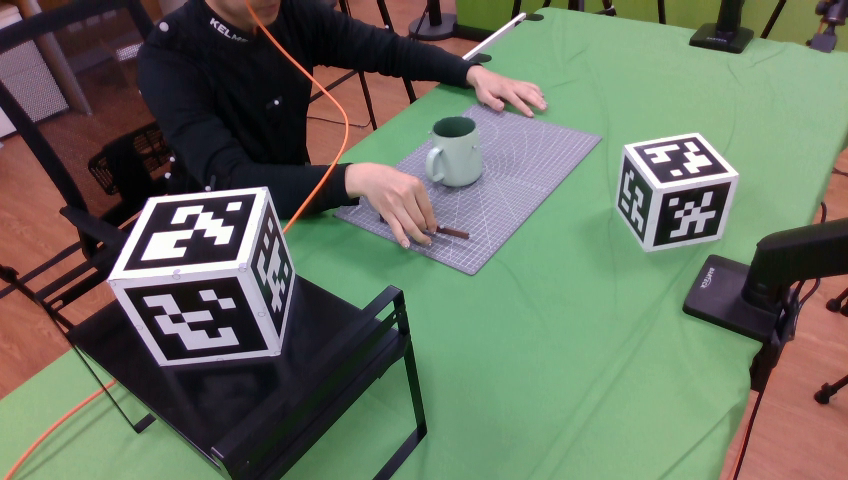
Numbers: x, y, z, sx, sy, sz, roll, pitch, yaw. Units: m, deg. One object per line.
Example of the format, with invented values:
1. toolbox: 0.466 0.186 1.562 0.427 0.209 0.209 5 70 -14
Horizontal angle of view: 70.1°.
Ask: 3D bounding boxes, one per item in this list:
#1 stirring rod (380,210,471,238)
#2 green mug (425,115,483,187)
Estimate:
1. stirring rod: -0.001 -0.027 0.993 0.175 0.014 0.006 15 52 29
2. green mug: 0.047 -0.148 1.068 0.092 0.105 0.125 24 50 31
